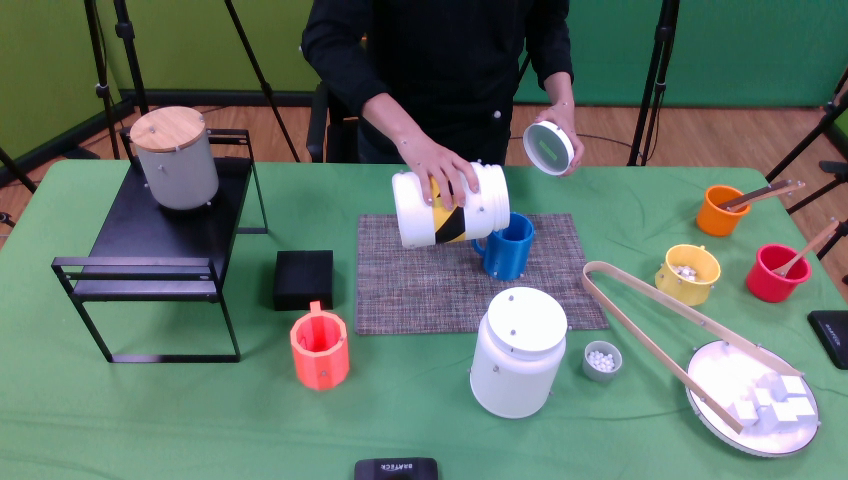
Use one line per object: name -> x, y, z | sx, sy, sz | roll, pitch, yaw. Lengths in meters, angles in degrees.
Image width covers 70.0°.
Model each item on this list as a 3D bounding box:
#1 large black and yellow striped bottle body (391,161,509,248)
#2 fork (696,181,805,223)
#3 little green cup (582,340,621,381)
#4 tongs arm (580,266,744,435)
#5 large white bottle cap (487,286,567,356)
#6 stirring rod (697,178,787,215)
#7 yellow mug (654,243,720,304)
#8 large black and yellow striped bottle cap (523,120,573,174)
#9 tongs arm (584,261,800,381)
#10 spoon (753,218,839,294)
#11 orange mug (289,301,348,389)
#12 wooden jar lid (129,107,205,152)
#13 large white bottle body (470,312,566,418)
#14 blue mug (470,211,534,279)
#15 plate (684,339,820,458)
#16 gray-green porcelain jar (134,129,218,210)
large black and yellow striped bottle body -> 0.043, -0.062, 1.021 | 0.184, 0.131, 0.130 | -9, 47, -2
fork -> 0.659, -0.077, 1.232 | 0.207, 0.019, 0.028 | -26, 35, 34
little green cup -> 0.295, 0.203, 1.015 | 0.061, 0.039, 0.061 | 2, 45, -2
tongs arm -> 0.384, 0.173, 1.028 | 0.028, 0.028, 0.385 | -25, 46, -15
large white bottle cap -> 0.147, 0.114, 0.869 | 0.115, 0.018, 0.114 | 3, 46, -3
stirring rod -> 0.650, -0.088, 1.245 | 0.006, 0.176, 0.014 | 29, 49, -39
yellow mug -> 0.504, 0.054, 1.154 | 0.099, 0.064, 0.130 | 28, 50, 22
large black and yellow striped bottle cap -> 0.243, -0.183, 1.191 | 0.019, 0.115, 0.114 | -39, 60, -22
tongs arm -> 0.452, 0.137, 1.064 | 0.051, 0.027, 0.382 | -34, 50, -27
spoon -> 0.700, 0.031, 1.138 | 0.194, 0.022, 0.041 | -47, 55, 14
orange mug -> -0.170, 0.162, 0.976 | 0.083, 0.101, 0.125 | -8, 52, -12
wooden jar lid -> -0.385, -0.163, 0.915 | 0.108, 0.021, 0.107 | 2, 47, -2
large white bottle body -> 0.143, 0.173, 0.930 | 0.131, 0.185, 0.130 | 2, 46, -2
blue mug -> 0.141, 0.005, 1.140 | 0.116, 0.106, 0.082 | 18, 48, 13
plate -> 0.523, 0.256, 0.982 | 0.208, 0.039, 0.206 | 2, 46, -2
gray-green porcelain jar -> -0.388, -0.120, 0.960 | 0.106, 0.127, 0.105 | 2, 46, -2
